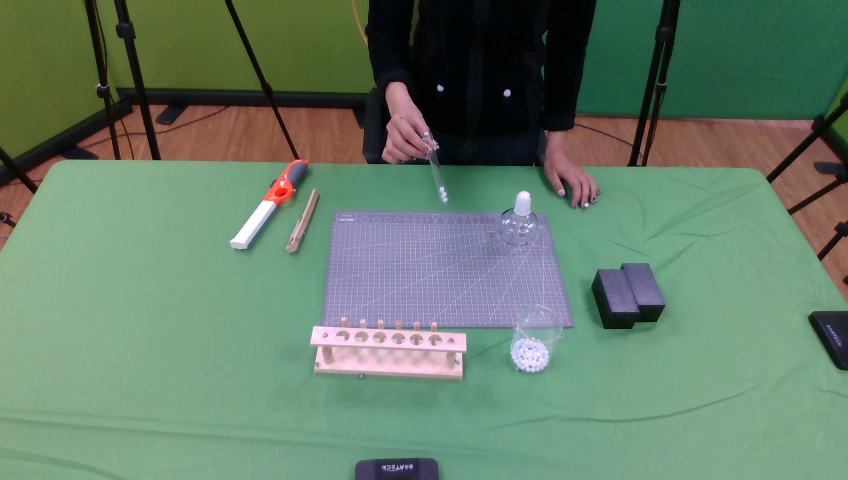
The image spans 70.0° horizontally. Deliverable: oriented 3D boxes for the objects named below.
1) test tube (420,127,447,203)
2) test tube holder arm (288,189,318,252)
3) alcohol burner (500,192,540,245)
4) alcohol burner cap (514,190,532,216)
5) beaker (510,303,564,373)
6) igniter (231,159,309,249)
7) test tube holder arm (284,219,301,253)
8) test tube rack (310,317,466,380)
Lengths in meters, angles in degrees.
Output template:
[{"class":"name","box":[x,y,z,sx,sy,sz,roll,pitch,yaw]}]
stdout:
[{"class":"test tube","box":[0.019,-0.131,1.080,0.017,0.151,0.017,-12,32,8]},{"class":"test tube holder arm","box":[-0.242,-0.043,1.223,0.013,0.015,0.177,-14,39,25]},{"class":"alcohol burner","box":[0.190,-0.048,1.190,0.078,0.120,0.077,1,47,-1]},{"class":"alcohol burner cap","box":[0.192,-0.074,1.166,0.034,0.048,0.033,1,41,-1]},{"class":"beaker","box":[0.182,0.164,1.000,0.074,0.101,0.083,2,46,-1]},{"class":"igniter","box":[-0.313,-0.082,1.251,0.057,0.025,0.275,8,45,18]},{"class":"test tube holder arm","box":[-0.254,-0.010,1.194,0.010,0.015,0.087,-14,39,26]},{"class":"test tube rack","box":[-0.056,0.171,0.986,0.242,0.085,0.066,3,45,-1]}]
